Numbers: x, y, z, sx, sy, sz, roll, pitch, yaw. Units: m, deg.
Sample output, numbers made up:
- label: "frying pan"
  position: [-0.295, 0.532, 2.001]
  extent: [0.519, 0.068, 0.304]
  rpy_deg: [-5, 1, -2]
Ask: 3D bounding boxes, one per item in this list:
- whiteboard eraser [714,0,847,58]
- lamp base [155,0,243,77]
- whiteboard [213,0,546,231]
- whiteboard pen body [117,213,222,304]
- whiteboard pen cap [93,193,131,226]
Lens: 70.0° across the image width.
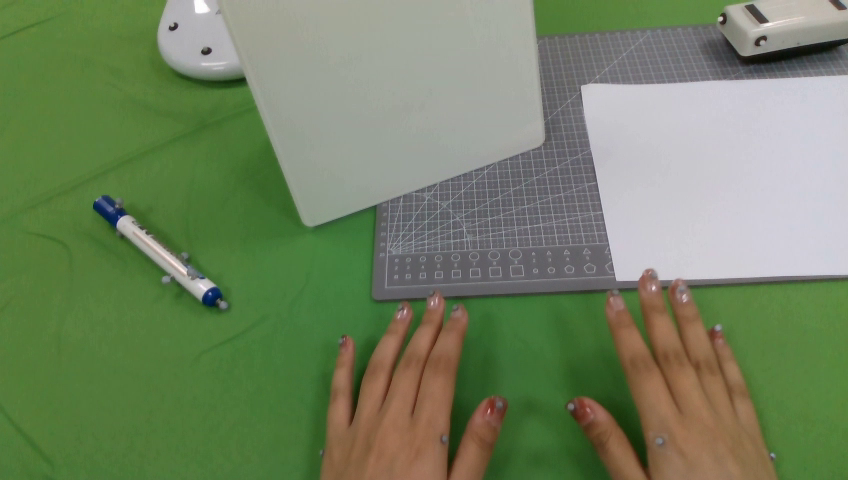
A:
- label: "whiteboard eraser"
  position: [0.332, -0.199, 0.556]
  extent: [0.113, 0.042, 0.055]
  rpy_deg: [-10, 55, -2]
- label: "lamp base"
  position: [-0.217, -0.278, 0.581]
  extent: [0.177, 0.182, 0.160]
  rpy_deg: [32, 63, 28]
- label: "whiteboard"
  position: [-0.047, -0.200, 0.468]
  extent: [0.217, 0.308, 0.142]
  rpy_deg: [-20, 35, -8]
- label: "whiteboard pen body"
  position: [-0.207, 0.007, 0.473]
  extent: [0.140, 0.017, 0.017]
  rpy_deg: [33, 63, 22]
- label: "whiteboard pen cap"
  position: [-0.253, -0.023, 0.495]
  extent: [0.033, 0.018, 0.018]
  rpy_deg: [35, 64, 20]
